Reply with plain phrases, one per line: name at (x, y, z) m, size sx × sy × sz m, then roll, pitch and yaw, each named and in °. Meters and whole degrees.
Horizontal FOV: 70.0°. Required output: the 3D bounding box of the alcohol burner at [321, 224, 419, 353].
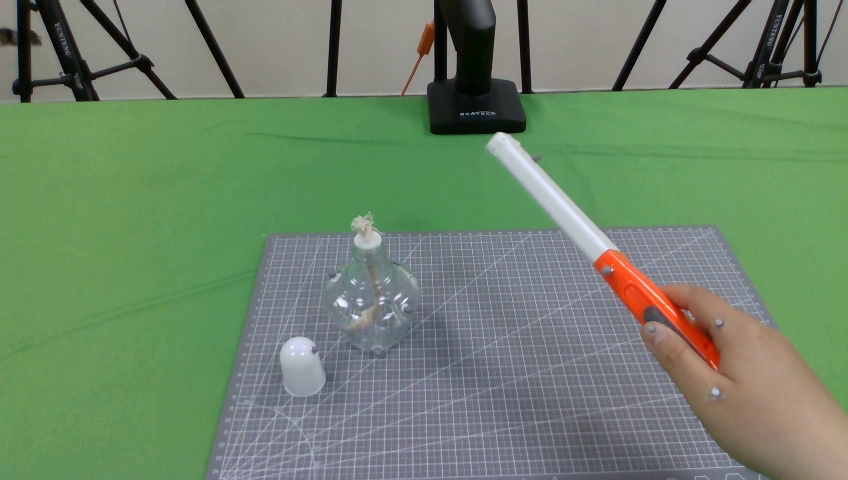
alcohol burner at (-0.043, 0.033, 0.473) m, size 0.078 × 0.120 × 0.077 m, roll 2°, pitch 42°, yaw -1°

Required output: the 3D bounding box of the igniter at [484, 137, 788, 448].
igniter at (0.132, 0.023, 0.413) m, size 0.057 × 0.025 × 0.274 m, roll 8°, pitch 39°, yaw -53°

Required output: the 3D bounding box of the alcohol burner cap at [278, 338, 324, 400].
alcohol burner cap at (-0.094, 0.094, 0.457) m, size 0.034 × 0.048 × 0.033 m, roll 1°, pitch 42°, yaw 0°
